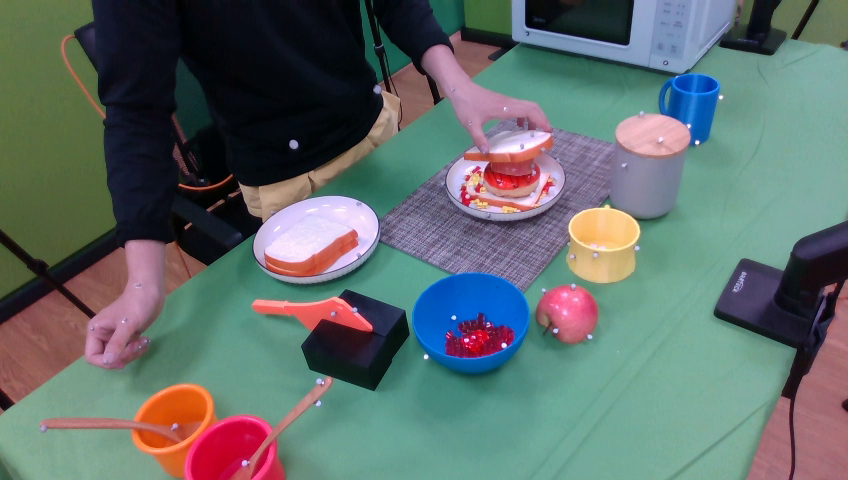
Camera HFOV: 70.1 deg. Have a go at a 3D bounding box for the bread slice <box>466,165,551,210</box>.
[{"bbox_3d":[0.141,-0.093,1.041,0.133,0.018,0.107,8,42,20],"label":"bread slice"}]

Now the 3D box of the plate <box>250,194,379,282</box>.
[{"bbox_3d":[-0.174,-0.001,0.984,0.209,0.038,0.208,-3,40,3],"label":"plate"}]

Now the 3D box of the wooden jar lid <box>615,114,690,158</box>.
[{"bbox_3d":[0.347,-0.155,0.923,0.108,0.021,0.108,-3,44,4],"label":"wooden jar lid"}]

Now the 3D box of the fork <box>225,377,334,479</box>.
[{"bbox_3d":[-0.163,0.216,0.646,0.207,0.019,0.028,-49,42,16],"label":"fork"}]

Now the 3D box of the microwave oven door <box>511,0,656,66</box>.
[{"bbox_3d":[0.350,-0.539,1.348,0.353,0.245,0.039,24,50,31],"label":"microwave oven door"}]

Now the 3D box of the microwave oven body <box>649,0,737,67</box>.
[{"bbox_3d":[0.475,-0.602,1.411,0.438,0.261,0.327,23,50,32],"label":"microwave oven body"}]

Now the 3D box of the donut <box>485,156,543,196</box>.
[{"bbox_3d":[0.151,-0.112,1.019,0.099,0.048,0.098,-4,40,4],"label":"donut"}]

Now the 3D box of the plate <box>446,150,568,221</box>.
[{"bbox_3d":[0.142,-0.097,1.045,0.207,0.039,0.206,-4,40,4],"label":"plate"}]

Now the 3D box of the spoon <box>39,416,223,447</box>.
[{"bbox_3d":[-0.320,0.209,0.677,0.021,0.195,0.041,-53,41,15],"label":"spoon"}]

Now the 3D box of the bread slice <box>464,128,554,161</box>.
[{"bbox_3d":[0.143,-0.155,0.974,0.105,0.019,0.130,-32,28,-32],"label":"bread slice"}]

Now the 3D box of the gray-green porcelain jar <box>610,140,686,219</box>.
[{"bbox_3d":[0.354,-0.106,0.964,0.106,0.127,0.105,-4,41,4],"label":"gray-green porcelain jar"}]

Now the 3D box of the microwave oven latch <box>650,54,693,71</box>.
[{"bbox_3d":[0.531,-0.386,1.301,0.078,0.029,0.030,26,51,33],"label":"microwave oven latch"}]

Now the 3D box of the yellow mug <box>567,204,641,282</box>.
[{"bbox_3d":[0.268,-0.005,0.905,0.099,0.064,0.130,6,42,16],"label":"yellow mug"}]

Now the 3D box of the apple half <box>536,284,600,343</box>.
[{"bbox_3d":[0.196,0.091,0.815,0.075,0.053,0.080,-22,42,-20],"label":"apple half"}]

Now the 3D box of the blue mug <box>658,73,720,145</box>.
[{"bbox_3d":[0.483,-0.250,1.127,0.082,0.106,0.115,-26,44,-19],"label":"blue mug"}]

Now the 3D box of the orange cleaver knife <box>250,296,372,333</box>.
[{"bbox_3d":[-0.158,0.103,0.828,0.210,0.078,0.012,-4,43,39],"label":"orange cleaver knife"}]

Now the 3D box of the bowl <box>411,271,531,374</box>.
[{"bbox_3d":[0.062,0.119,0.780,0.151,0.077,0.150,-4,40,4],"label":"bowl"}]
